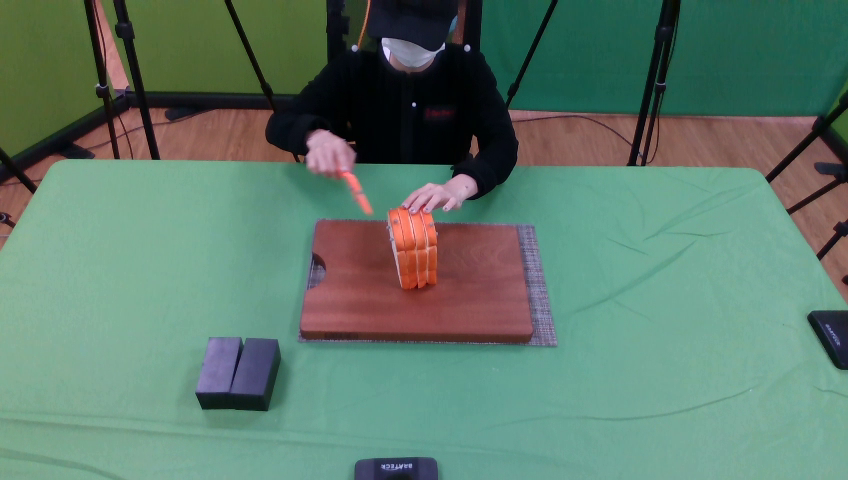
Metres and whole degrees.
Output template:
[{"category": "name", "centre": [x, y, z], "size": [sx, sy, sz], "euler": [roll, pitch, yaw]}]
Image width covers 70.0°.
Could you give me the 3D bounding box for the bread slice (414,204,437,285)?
[{"category": "bread slice", "centre": [0.002, 0.004, 1.078], "size": [0.018, 0.135, 0.106], "euler": [-11, 53, -10]}]

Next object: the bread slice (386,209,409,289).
[{"category": "bread slice", "centre": [-0.048, 0.009, 1.071], "size": [0.019, 0.132, 0.104], "euler": [-12, 48, -5]}]

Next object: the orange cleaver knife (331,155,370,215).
[{"category": "orange cleaver knife", "centre": [-0.124, -0.095, 1.021], "size": [0.012, 0.077, 0.210], "euler": [-26, 26, -8]}]
